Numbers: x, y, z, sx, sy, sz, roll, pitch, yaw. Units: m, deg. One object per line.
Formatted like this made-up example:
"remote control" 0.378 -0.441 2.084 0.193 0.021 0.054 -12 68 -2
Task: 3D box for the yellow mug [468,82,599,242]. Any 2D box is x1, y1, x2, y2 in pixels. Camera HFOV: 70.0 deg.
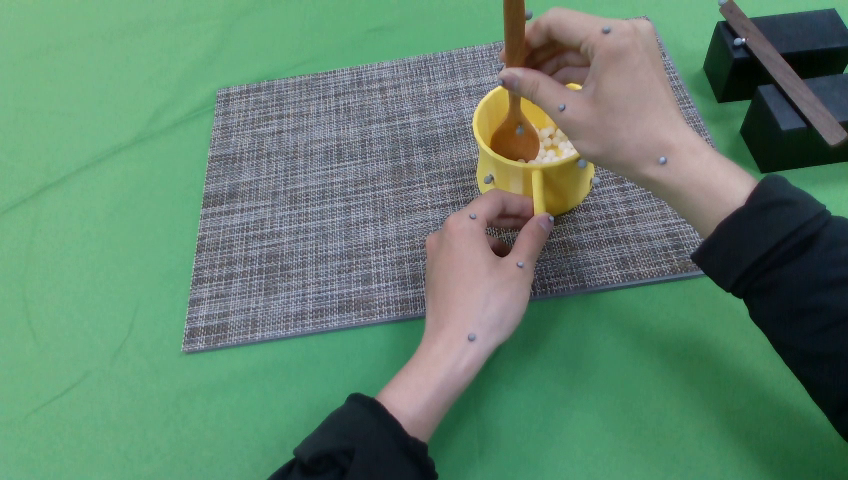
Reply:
"yellow mug" 0.088 -0.058 0.486 0.100 0.064 0.129 -2 56 7

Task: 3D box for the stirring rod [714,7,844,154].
"stirring rod" 0.280 -0.134 0.487 0.014 0.006 0.174 -36 50 27

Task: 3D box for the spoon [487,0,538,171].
"spoon" 0.063 -0.100 0.431 0.041 0.195 0.021 4 70 10
